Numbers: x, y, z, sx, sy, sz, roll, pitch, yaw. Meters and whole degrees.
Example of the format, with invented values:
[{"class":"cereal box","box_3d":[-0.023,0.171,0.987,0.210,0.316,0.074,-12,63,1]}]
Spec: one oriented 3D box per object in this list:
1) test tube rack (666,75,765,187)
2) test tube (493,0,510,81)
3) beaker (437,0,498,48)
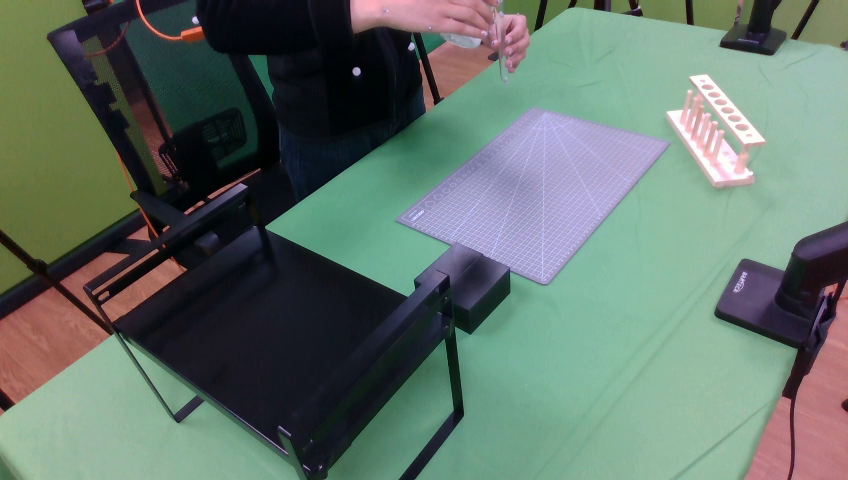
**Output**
[{"class":"test tube rack","box_3d":[0.512,-0.201,1.082,0.067,0.085,0.241,-6,41,2]},{"class":"test tube","box_3d":[0.127,-0.323,0.985,0.017,0.151,0.017,-6,51,8]},{"class":"beaker","box_3d":[0.067,-0.339,0.883,0.073,0.085,0.100,23,93,36]}]
